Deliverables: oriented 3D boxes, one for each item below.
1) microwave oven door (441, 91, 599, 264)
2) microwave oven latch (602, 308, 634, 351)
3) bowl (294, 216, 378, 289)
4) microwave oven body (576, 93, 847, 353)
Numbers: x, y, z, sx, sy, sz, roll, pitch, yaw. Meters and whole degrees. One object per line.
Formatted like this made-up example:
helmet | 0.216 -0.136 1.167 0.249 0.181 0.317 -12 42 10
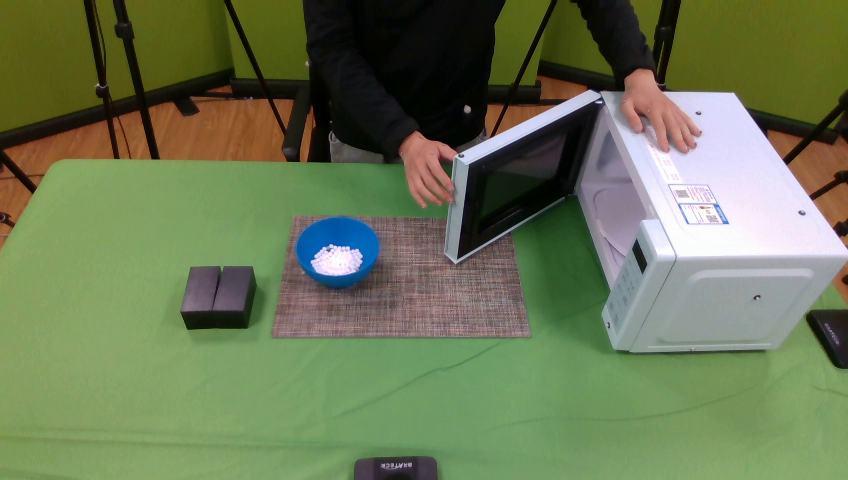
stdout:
microwave oven door | 0.187 -0.123 1.160 0.356 0.245 0.039 -29 55 -28
microwave oven latch | 0.332 0.153 1.044 0.030 0.029 0.078 -1 45 -4
bowl | -0.158 0.036 1.110 0.151 0.077 0.150 3 45 -2
microwave oven body | 0.475 -0.041 1.109 0.326 0.261 0.438 -1 45 -4
